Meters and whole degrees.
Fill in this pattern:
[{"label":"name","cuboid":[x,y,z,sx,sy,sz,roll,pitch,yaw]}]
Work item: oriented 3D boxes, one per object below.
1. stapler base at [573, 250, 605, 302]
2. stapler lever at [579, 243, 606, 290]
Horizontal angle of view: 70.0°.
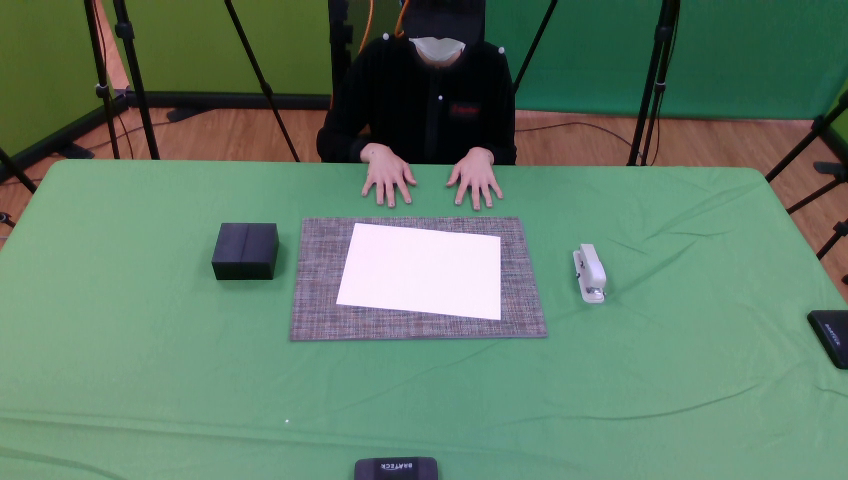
[{"label":"stapler base","cuboid":[0.317,0.062,1.161,0.041,0.024,0.130,3,44,-3]},{"label":"stapler lever","cuboid":[0.318,0.044,1.144,0.027,0.040,0.117,3,45,-3]}]
